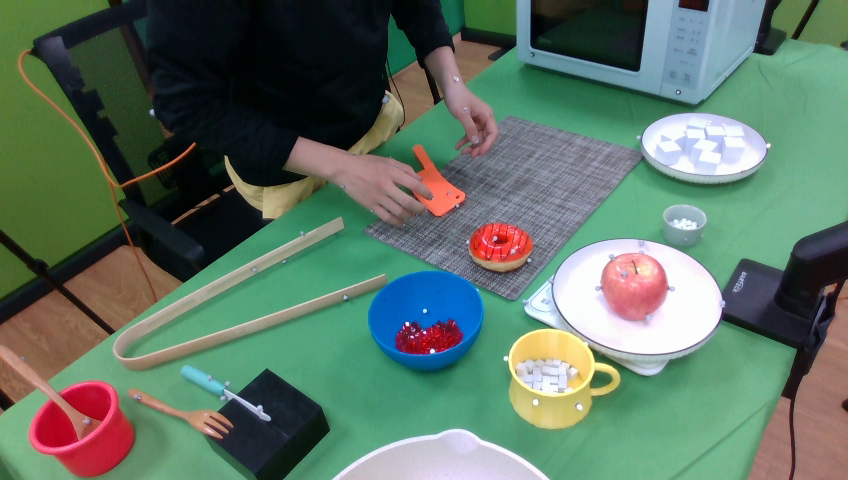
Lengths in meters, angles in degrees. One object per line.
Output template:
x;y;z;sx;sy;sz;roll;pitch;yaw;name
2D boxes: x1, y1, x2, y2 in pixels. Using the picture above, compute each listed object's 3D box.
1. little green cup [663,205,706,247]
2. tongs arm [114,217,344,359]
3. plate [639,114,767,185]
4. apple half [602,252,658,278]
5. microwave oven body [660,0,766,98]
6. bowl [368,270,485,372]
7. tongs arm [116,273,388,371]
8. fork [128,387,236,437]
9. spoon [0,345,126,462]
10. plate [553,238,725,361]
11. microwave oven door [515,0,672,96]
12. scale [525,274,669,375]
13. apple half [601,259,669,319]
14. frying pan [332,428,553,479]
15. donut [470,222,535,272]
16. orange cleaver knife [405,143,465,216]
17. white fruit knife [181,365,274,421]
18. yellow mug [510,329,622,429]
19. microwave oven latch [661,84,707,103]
0.396;-0.021;0.926;0.061;0.039;0.061;-4;40;4;little green cup
-0.280;0.067;0.926;0.386;0.026;0.050;-29;49;-23;tongs arm
0.489;-0.157;1.074;0.207;0.039;0.206;-4;40;4;plate
0.263;0.042;0.784;0.081;0.081;0.032;-8;43;-1;apple half
0.472;-0.513;1.317;0.438;0.261;0.327;26;51;34;microwave oven body
0.007;0.118;0.791;0.151;0.077;0.150;-5;40;4;bowl
-0.236;0.115;0.869;0.389;0.028;0.028;-18;49;-13;tongs arm
-0.305;0.207;0.744;0.206;0.019;0.028;3;42;36;fork
-0.434;0.192;0.720;0.194;0.021;0.042;47;53;-7;spoon
0.273;0.078;0.783;0.209;0.038;0.208;-4;41;4;plate
0.344;-0.455;1.259;0.353;0.245;0.039;26;51;33;microwave oven door
0.254;0.091;0.821;0.199;0.032;0.149;28;51;35;scale
0.267;0.068;0.756;0.081;0.075;0.053;-6;43;-2;apple half
-0.089;0.306;0.564;0.487;0.103;0.306;10;41;7;frying pan
0.119;0.009;0.923;0.099;0.048;0.098;-4;38;4;donut
0.005;-0.113;1.103;0.077;0.012;0.209;-24;45;-9;orange cleaver knife
-0.245;0.187;0.747;0.205;0.027;0.016;9;41;40;white fruit knife
0.169;0.164;0.721;0.130;0.064;0.099;0;40;8;yellow mug
0.516;-0.296;1.204;0.078;0.029;0.030;25;51;33;microwave oven latch
